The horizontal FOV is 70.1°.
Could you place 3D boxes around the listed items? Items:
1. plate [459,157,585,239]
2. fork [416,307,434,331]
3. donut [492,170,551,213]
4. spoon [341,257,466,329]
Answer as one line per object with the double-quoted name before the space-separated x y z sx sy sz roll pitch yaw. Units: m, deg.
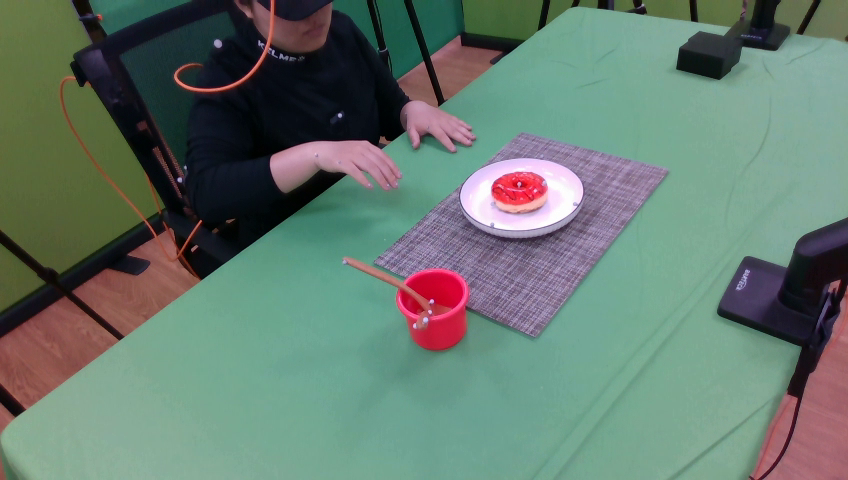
"plate" 0.163 -0.068 1.015 0.209 0.038 0.208 -5 40 5
"fork" 0.001 0.098 0.761 0.028 0.207 0.018 26 87 3
"donut" 0.163 -0.083 1.016 0.099 0.048 0.098 -6 37 5
"spoon" -0.025 0.069 0.811 0.195 0.021 0.041 34 30 -18
